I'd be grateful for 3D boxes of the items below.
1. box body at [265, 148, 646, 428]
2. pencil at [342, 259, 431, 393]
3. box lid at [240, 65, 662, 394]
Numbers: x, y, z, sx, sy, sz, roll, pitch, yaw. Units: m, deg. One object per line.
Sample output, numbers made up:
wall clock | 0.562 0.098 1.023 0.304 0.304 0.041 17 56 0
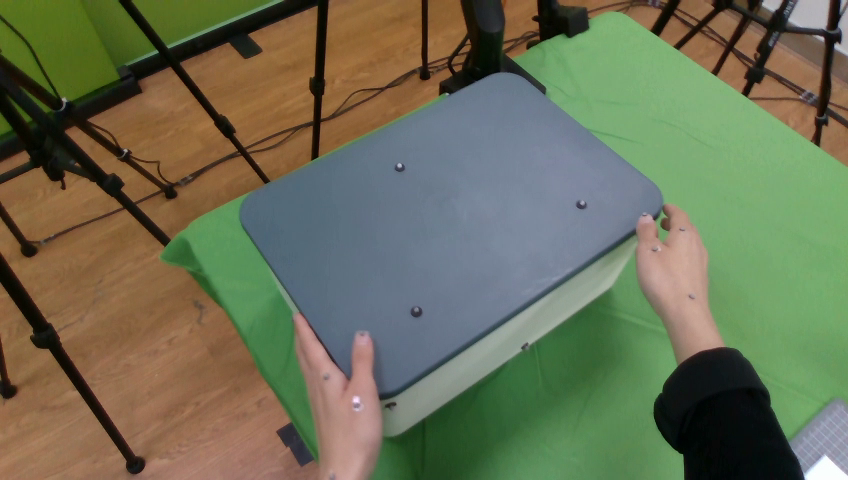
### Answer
box body | 0.029 0.003 0.672 0.364 0.162 0.251 -31 61 -19
pencil | -0.044 0.095 0.693 0.012 0.012 0.192 -28 63 -18
box lid | 0.030 -0.039 0.611 0.371 0.015 0.261 -31 62 -19
